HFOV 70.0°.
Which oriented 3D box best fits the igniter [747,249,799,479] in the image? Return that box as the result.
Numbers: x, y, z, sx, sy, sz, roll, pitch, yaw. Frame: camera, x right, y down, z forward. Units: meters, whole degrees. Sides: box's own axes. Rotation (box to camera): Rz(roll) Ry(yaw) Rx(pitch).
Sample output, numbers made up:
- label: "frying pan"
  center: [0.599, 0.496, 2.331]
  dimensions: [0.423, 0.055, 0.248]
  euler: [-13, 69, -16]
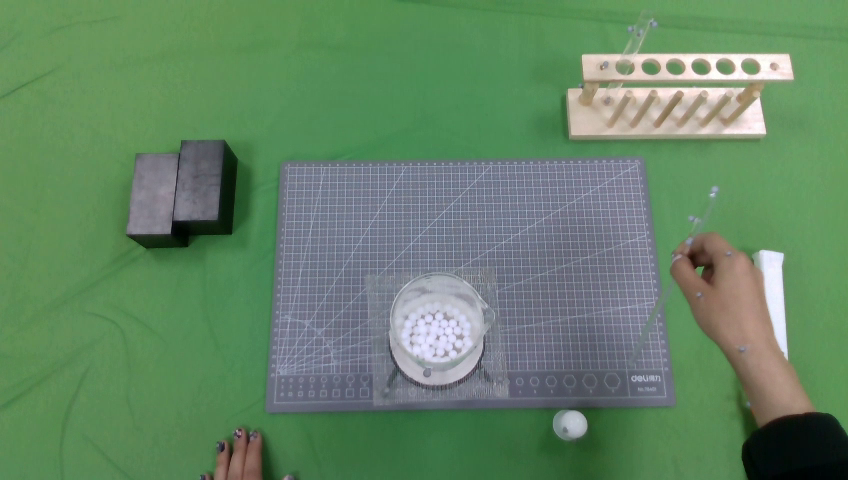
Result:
- label: "igniter"
  center: [0.383, 0.144, 0.669]
  dimensions: [0.057, 0.025, 0.275]
  euler: [9, 73, -8]

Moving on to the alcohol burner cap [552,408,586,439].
- label: "alcohol burner cap"
  center: [0.157, 0.195, 0.646]
  dimensions: [0.034, 0.048, 0.033]
  euler: [0, 71, 1]

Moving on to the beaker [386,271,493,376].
- label: "beaker"
  center: [0.013, 0.075, 0.510]
  dimensions: [0.084, 0.101, 0.073]
  euler: [-5, 72, -2]

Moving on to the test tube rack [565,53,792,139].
- label: "test tube rack"
  center: [0.302, -0.172, 0.733]
  dimensions: [0.242, 0.085, 0.066]
  euler: [-1, 73, 0]

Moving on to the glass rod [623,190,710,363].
- label: "glass rod"
  center: [0.236, 0.042, 0.598]
  dimensions: [0.008, 0.008, 0.201]
  euler: [18, 115, 5]

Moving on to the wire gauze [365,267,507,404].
- label: "wire gauze"
  center: [0.009, 0.086, 0.557]
  dimensions: [0.125, 0.011, 0.120]
  euler: [-4, 71, 1]

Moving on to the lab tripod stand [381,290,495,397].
- label: "lab tripod stand"
  center: [0.010, 0.108, 0.619]
  dimensions: [0.148, 0.132, 0.147]
  euler: [0, 72, 2]

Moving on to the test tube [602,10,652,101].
- label: "test tube"
  center: [0.228, -0.205, 0.692]
  dimensions: [0.017, 0.151, 0.017]
  euler: [0, 69, 1]

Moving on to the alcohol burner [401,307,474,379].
- label: "alcohol burner"
  center: [0.015, 0.104, 0.631]
  dimensions: [0.078, 0.120, 0.077]
  euler: [1, 71, -1]
